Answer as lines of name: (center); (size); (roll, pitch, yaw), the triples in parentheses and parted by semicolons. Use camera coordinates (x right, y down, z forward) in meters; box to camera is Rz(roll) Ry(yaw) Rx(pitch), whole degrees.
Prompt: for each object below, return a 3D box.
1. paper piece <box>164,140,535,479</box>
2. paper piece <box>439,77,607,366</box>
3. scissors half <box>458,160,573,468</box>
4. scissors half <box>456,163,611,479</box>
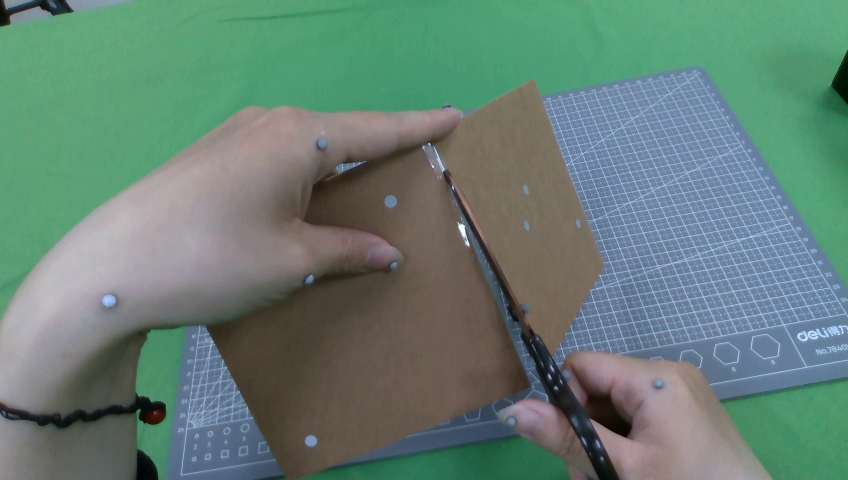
paper piece: (-0.034, 0.039, 0.294); (0.138, 0.136, 0.008); (-22, 9, 4)
paper piece: (0.067, -0.017, 0.343); (0.004, 0.136, 0.135); (-16, 14, 35)
scissors half: (0.050, 0.042, 0.295); (0.013, 0.176, 0.040); (-23, 14, 3)
scissors half: (0.050, 0.045, 0.275); (0.013, 0.040, 0.175); (-24, 88, -2)
